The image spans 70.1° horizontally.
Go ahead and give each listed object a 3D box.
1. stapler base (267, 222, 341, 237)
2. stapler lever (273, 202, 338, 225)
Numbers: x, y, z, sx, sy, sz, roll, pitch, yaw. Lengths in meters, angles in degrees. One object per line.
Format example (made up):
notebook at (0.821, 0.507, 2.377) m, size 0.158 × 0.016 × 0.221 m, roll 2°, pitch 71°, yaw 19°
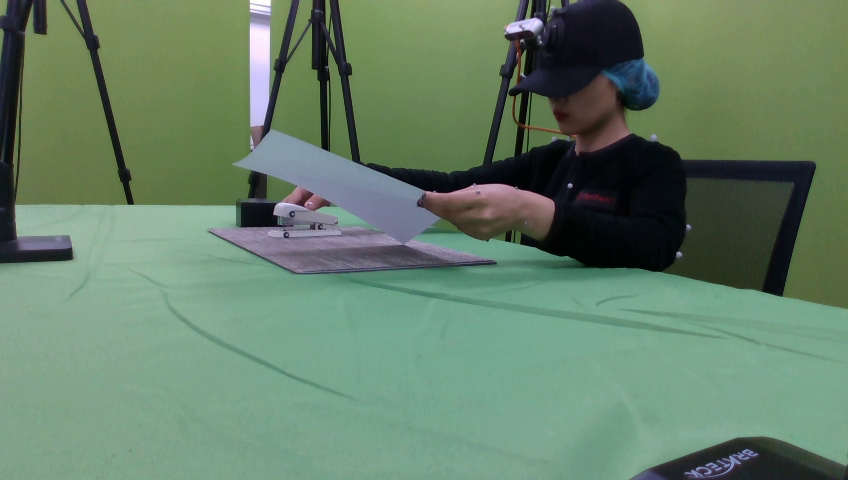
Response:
stapler base at (-0.208, -0.020, 1.057) m, size 0.131 × 0.024 × 0.041 m, roll -2°, pitch 12°, yaw -41°
stapler lever at (-0.206, -0.045, 1.055) m, size 0.119 × 0.040 × 0.026 m, roll -2°, pitch 12°, yaw -41°
